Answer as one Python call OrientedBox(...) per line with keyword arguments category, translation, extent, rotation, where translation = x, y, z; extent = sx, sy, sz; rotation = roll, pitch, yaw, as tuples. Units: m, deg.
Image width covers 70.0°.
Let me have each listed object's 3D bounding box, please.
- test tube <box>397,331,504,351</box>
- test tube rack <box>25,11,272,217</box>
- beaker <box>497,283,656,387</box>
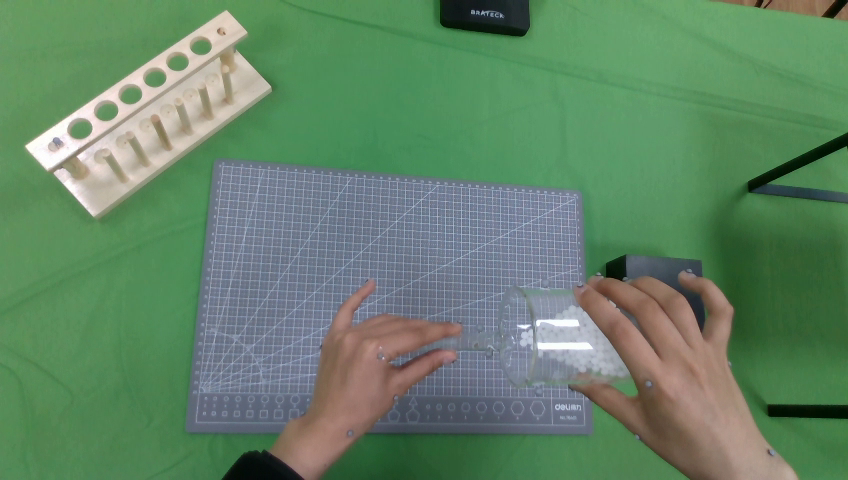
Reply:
OrientedBox(category="test tube", translation=(0.018, 0.091, 0.541), extent=(0.017, 0.149, 0.017), rotation=(7, 77, -33))
OrientedBox(category="test tube rack", translation=(-0.281, -0.135, 0.650), extent=(0.242, 0.085, 0.066), rotation=(-42, 87, -18))
OrientedBox(category="beaker", translation=(0.112, 0.072, 0.455), extent=(0.100, 0.084, 0.073), rotation=(3, 75, -13))
